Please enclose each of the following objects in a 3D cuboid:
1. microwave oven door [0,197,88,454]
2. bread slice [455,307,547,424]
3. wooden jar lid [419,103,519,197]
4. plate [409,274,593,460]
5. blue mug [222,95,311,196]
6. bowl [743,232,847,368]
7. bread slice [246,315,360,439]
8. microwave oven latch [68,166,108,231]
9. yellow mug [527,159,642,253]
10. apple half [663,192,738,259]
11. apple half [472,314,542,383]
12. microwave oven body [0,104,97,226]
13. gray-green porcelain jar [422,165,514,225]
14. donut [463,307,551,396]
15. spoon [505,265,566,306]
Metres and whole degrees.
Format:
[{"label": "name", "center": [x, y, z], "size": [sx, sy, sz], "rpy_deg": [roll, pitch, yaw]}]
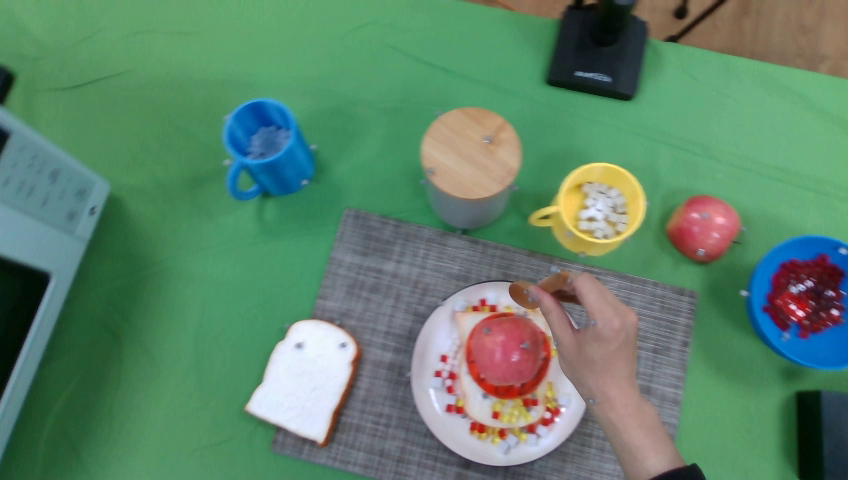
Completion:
[{"label": "microwave oven door", "center": [-0.481, 0.127, 0.599], "size": [0.039, 0.245, 0.354], "rpy_deg": [14, 76, 6]}, {"label": "bread slice", "center": [0.093, 0.144, 0.702], "size": [0.107, 0.018, 0.133], "rpy_deg": [-3, 78, 1]}, {"label": "wooden jar lid", "center": [0.048, -0.096, 0.656], "size": [0.108, 0.021, 0.108], "rpy_deg": [0, 74, -1]}, {"label": "plate", "center": [0.088, 0.145, 0.702], "size": [0.207, 0.039, 0.206], "rpy_deg": [0, 76, 1]}, {"label": "blue mug", "center": [-0.198, -0.103, 0.739], "size": [0.082, 0.106, 0.116], "rpy_deg": [34, 79, 9]}, {"label": "bowl", "center": [0.432, 0.073, 0.695], "size": [0.151, 0.077, 0.150], "rpy_deg": [0, 76, 2]}, {"label": "bread slice", "center": [-0.138, 0.154, 0.716], "size": [0.105, 0.019, 0.131], "rpy_deg": [21, 78, 5]}, {"label": "microwave oven latch", "center": [-0.420, -0.053, 0.747], "size": [0.030, 0.029, 0.079], "rpy_deg": [18, 78, 6]}, {"label": "yellow mug", "center": [0.190, -0.037, 0.735], "size": [0.131, 0.064, 0.099], "rpy_deg": [-8, 75, 0]}, {"label": "apple half", "center": [0.339, -0.023, 0.735], "size": [0.074, 0.053, 0.080], "rpy_deg": [36, 80, 12]}, {"label": "apple half", "center": [0.090, 0.113, 0.644], "size": [0.081, 0.033, 0.081], "rpy_deg": [-2, 71, 7]}, {"label": "microwave oven body", "center": [-0.611, 0.054, 0.626], "size": [0.326, 0.261, 0.440], "rpy_deg": [14, 77, 5]}, {"label": "gray-green porcelain jar", "center": [0.051, -0.079, 0.717], "size": [0.106, 0.127, 0.105], "rpy_deg": [0, 75, 1]}, {"label": "donut", "center": [0.092, 0.124, 0.678], "size": [0.099, 0.048, 0.098], "rpy_deg": [-1, 76, 2]}, {"label": "spoon", "center": [0.110, 0.046, 0.593], "size": [0.041, 0.194, 0.021], "rpy_deg": [37, 83, 5]}]
